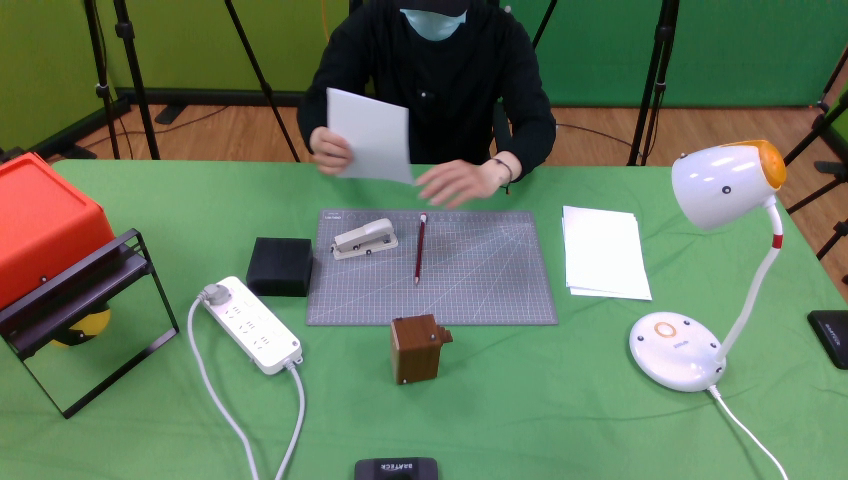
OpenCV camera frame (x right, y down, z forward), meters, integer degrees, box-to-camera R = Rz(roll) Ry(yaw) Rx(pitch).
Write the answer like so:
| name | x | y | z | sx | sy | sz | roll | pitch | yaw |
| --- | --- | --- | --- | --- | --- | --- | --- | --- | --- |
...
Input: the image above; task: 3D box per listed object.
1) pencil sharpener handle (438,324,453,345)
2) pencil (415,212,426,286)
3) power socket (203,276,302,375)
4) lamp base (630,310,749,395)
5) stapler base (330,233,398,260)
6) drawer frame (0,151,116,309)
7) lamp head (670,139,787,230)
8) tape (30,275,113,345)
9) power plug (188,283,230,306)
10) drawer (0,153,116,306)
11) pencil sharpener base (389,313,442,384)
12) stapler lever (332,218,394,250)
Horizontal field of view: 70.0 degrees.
| name | x | y | z | sx | sy | sz | roll | pitch | yaw |
| --- | --- | --- | --- | --- | --- | --- | --- | --- | --- |
| pencil sharpener handle | 0.036 | 0.155 | 0.976 | 0.031 | 0.068 | 0.036 | -8 | 69 | -11 |
| pencil | -0.007 | 0.014 | 1.190 | 0.012 | 0.012 | 0.193 | 5 | 48 | 1 |
| power socket | -0.297 | 0.141 | 1.034 | 0.072 | 0.033 | 0.225 | -34 | 58 | -30 |
| lamp base | 0.447 | 0.142 | 0.984 | 0.161 | 0.181 | 0.178 | -24 | 55 | -24 |
| stapler base | -0.116 | 0.004 | 1.181 | 0.131 | 0.024 | 0.041 | -13 | 47 | -15 |
| drawer frame | -0.604 | -0.013 | 0.876 | 0.201 | 0.083 | 0.213 | 31 | 52 | 23 |
| lamp head | 0.415 | -0.079 | 0.812 | 0.113 | 0.123 | 0.112 | 12 | 70 | -37 |
| tape | -0.594 | 0.117 | 1.021 | 0.117 | 0.053 | 0.116 | 2 | 45 | -2 |
| power plug | -0.368 | 0.099 | 1.037 | 0.072 | 0.053 | 0.035 | -24 | 52 | -26 |
| drawer | -0.601 | -0.015 | 0.880 | 0.193 | 0.073 | 0.211 | 32 | 53 | 23 |
| pencil sharpener base | -0.013 | 0.175 | 0.971 | 0.077 | 0.107 | 0.061 | -8 | 47 | -11 |
| stapler lever | -0.116 | -0.012 | 1.162 | 0.118 | 0.040 | 0.026 | -13 | 47 | -14 |
